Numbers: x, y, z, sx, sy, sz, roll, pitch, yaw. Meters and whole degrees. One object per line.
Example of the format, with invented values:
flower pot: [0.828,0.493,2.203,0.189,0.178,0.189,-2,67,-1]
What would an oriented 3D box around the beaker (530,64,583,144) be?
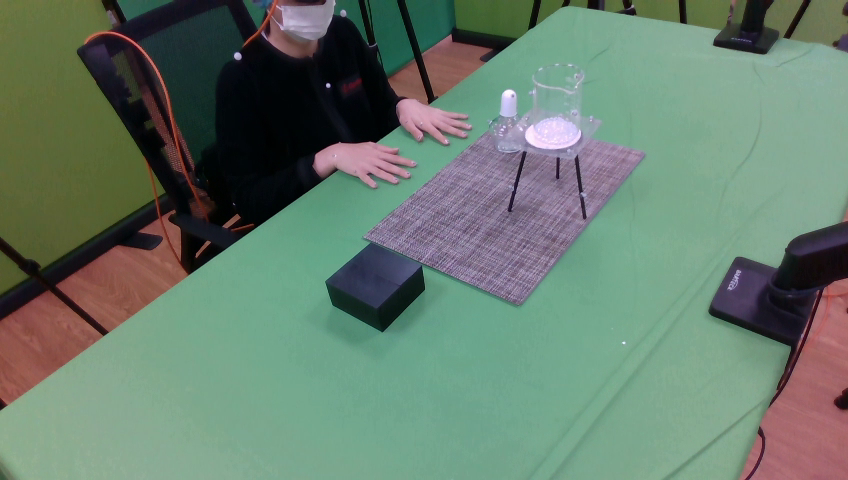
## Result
beaker: [0.201,-0.201,0.909,0.074,0.101,0.083,-19,43,-10]

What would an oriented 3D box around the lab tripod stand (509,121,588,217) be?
lab tripod stand: [0.207,-0.114,0.983,0.148,0.132,0.147,-5,42,5]

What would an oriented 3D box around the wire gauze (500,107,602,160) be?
wire gauze: [0.199,-0.166,0.945,0.120,0.011,0.125,17,50,28]

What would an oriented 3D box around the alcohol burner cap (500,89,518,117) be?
alcohol burner cap: [0.158,-0.254,1.114,0.034,0.048,0.033,-1,38,1]

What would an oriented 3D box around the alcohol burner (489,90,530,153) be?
alcohol burner: [0.160,-0.226,1.136,0.078,0.119,0.077,-6,41,5]
